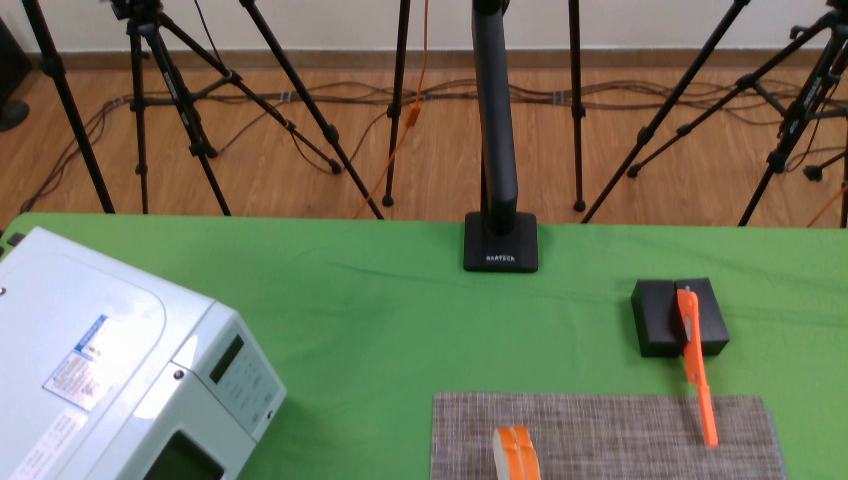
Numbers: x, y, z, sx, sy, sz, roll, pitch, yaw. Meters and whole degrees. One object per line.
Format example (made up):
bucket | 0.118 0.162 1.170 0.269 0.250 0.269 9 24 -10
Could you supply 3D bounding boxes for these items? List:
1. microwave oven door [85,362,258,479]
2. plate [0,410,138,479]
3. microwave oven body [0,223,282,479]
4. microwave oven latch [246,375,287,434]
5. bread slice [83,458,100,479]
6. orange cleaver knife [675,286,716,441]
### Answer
microwave oven door | -0.317 0.326 0.631 0.039 0.246 0.354 19 58 17
plate | -0.446 0.308 0.723 0.208 0.039 0.205 0 54 0
microwave oven body | -0.432 0.253 0.696 0.324 0.262 0.439 19 59 16
microwave oven latch | -0.218 0.220 0.824 0.030 0.030 0.079 21 60 16
bread slice | -0.443 0.333 0.712 0.134 0.018 0.106 -17 55 -19
orange cleaver knife | 0.365 0.162 0.823 0.012 0.077 0.210 -4 76 4
